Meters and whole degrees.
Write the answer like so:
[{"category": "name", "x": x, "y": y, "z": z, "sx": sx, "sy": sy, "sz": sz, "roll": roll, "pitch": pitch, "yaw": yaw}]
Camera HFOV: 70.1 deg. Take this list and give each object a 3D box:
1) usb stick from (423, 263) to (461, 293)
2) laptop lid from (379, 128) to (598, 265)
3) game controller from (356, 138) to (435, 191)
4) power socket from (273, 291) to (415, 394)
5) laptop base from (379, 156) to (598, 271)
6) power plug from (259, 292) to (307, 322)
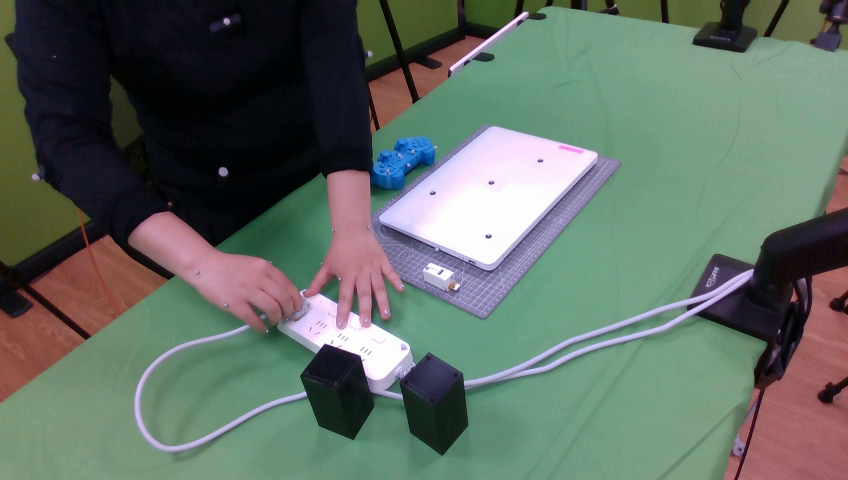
[{"category": "usb stick", "x": 0.028, "y": 0.058, "z": 0.889, "sx": 0.059, "sy": 0.027, "sz": 0.021, "roll": 25, "pitch": 47, "yaw": 29}, {"category": "laptop lid", "x": 0.117, "y": -0.095, "z": 1.048, "sx": 0.239, "sy": 0.013, "sz": 0.358, "roll": 23, "pitch": 49, "yaw": 34}, {"category": "game controller", "x": -0.049, "y": -0.150, "z": 1.136, "sx": 0.096, "sy": 0.052, "sz": 0.155, "roll": 28, "pitch": 51, "yaw": 28}, {"category": "power socket", "x": -0.115, "y": 0.134, "z": 0.820, "sx": 0.225, "sy": 0.033, "sz": 0.072, "roll": 24, "pitch": 47, "yaw": 31}, {"category": "laptop base", "x": 0.120, "y": -0.085, "z": 1.054, "sx": 0.233, "sy": 0.023, "sz": 0.355, "roll": 21, "pitch": 48, "yaw": 34}, {"category": "power plug", "x": -0.194, "y": 0.099, "z": 0.823, "sx": 0.073, "sy": 0.053, "sz": 0.035, "roll": -24, "pitch": 41, "yaw": -29}]
